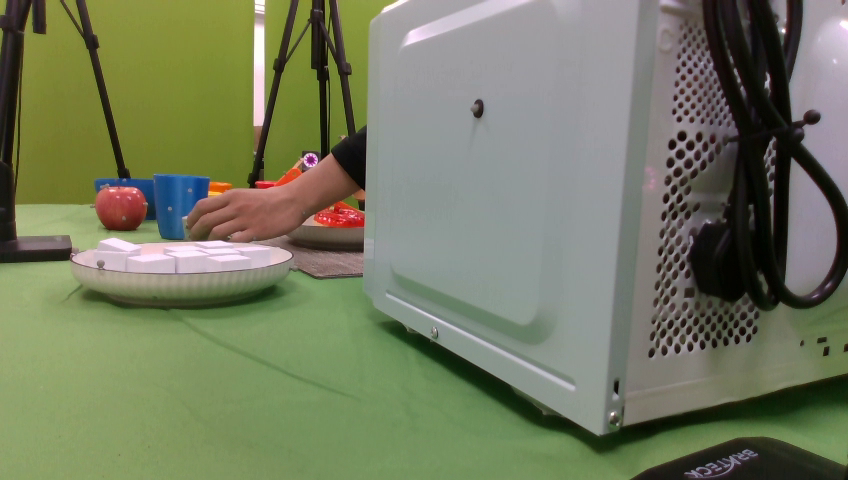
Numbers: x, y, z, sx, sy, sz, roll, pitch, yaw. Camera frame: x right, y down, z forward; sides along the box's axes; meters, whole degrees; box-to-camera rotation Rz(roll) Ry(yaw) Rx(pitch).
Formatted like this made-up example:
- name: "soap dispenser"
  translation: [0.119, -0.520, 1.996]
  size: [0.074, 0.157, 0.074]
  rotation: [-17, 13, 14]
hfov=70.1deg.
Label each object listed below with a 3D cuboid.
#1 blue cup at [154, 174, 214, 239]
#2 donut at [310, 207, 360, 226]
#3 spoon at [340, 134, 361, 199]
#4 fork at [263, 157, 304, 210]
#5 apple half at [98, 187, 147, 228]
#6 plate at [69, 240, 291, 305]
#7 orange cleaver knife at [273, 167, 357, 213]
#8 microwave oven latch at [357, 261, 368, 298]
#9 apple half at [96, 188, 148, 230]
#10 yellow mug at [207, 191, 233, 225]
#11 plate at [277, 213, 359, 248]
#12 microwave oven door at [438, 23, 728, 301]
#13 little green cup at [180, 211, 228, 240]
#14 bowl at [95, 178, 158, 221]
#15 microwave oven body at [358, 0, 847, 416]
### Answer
- name: "blue cup"
  translation: [-0.391, -0.054, 0.978]
  size: [0.093, 0.100, 0.092]
  rotation: [4, 6, 0]
- name: "donut"
  translation: [-0.137, -0.029, 0.995]
  size: [0.099, 0.048, 0.099]
  rotation: [4, 9, 0]
- name: "spoon"
  translation: [-0.136, -0.146, 1.177]
  size: [0.042, 0.021, 0.193]
  rotation: [-11, 55, -13]
- name: "fork"
  translation: [-0.345, -0.143, 1.505]
  size: [0.028, 0.019, 0.207]
  rotation: [-4, 46, 28]
- name: "apple half"
  translation: [-0.534, -0.059, 1.071]
  size: [0.082, 0.081, 0.032]
  rotation: [-1, 10, -25]
- name: "plate"
  translation: [-0.242, 0.031, 0.618]
  size: [0.208, 0.039, 0.207]
  rotation: [2, 8, 0]
- name: "orange cleaver knife"
  translation: [-0.238, -0.090, 1.381]
  size: [0.212, 0.077, 0.012]
  rotation: [31, 0, -19]
- name: "microwave oven latch"
  translation: [-0.019, 0.033, 0.529]
  size: [0.079, 0.029, 0.030]
  rotation: [0, 7, -25]
- name: "apple half"
  translation: [-0.517, -0.052, 1.036]
  size: [0.081, 0.074, 0.053]
  rotation: [2, 10, -26]
- name: "yellow mug"
  translation: [-0.415, -0.057, 1.131]
  size: [0.130, 0.064, 0.100]
  rotation: [6, 8, 16]
- name: "plate"
  translation: [-0.135, -0.017, 0.992]
  size: [0.209, 0.038, 0.209]
  rotation: [2, 8, 0]
- name: "microwave oven door"
  translation: [0.181, -0.072, 0.620]
  size: [0.358, 0.243, 0.039]
  rotation: [-2, 8, -29]
- name: "little green cup"
  translation: [-0.303, -0.017, 0.839]
  size: [0.061, 0.038, 0.061]
  rotation: [-9, 10, 2]
- name: "bowl"
  translation: [-0.576, -0.081, 1.217]
  size: [0.151, 0.077, 0.151]
  rotation: [3, 8, 0]
- name: "microwave oven body"
  translation: [0.211, -0.047, 0.474]
  size: [0.444, 0.260, 0.324]
  rotation: [-1, 7, -28]
